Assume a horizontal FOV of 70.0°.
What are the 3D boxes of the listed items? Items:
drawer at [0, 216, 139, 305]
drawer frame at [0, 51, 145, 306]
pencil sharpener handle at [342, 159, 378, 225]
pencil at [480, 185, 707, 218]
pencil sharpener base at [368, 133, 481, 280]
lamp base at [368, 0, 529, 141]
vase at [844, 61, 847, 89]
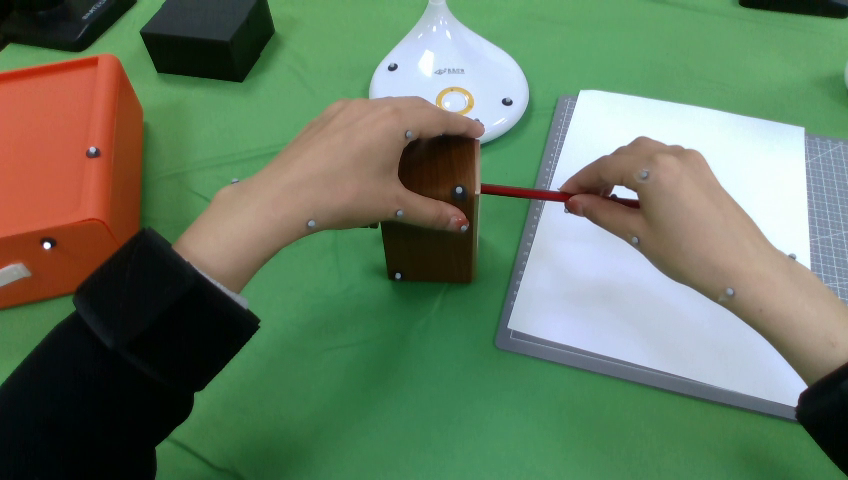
[{"bbox_3d":[-0.344,-0.047,0.501,0.195,0.074,0.209,-13,51,-8],"label":"drawer"},{"bbox_3d":[-0.347,-0.049,0.501,0.202,0.083,0.211,-14,52,-8],"label":"drawer frame"},{"bbox_3d":[-0.050,-0.031,0.446,0.030,0.068,0.035,0,59,3],"label":"pencil sharpener handle"},{"bbox_3d":[0.099,-0.029,0.424,0.194,0.012,0.012,6,51,3],"label":"pencil"},{"bbox_3d":[0.002,-0.022,0.452,0.076,0.108,0.061,0,52,3],"label":"pencil sharpener base"},{"bbox_3d":[0.019,-0.209,0.554,0.161,0.182,0.177,-13,50,-8],"label":"lamp base"},{"bbox_3d":[0.456,-0.205,0.525,0.098,0.202,0.097,-1,50,2],"label":"vase"}]
